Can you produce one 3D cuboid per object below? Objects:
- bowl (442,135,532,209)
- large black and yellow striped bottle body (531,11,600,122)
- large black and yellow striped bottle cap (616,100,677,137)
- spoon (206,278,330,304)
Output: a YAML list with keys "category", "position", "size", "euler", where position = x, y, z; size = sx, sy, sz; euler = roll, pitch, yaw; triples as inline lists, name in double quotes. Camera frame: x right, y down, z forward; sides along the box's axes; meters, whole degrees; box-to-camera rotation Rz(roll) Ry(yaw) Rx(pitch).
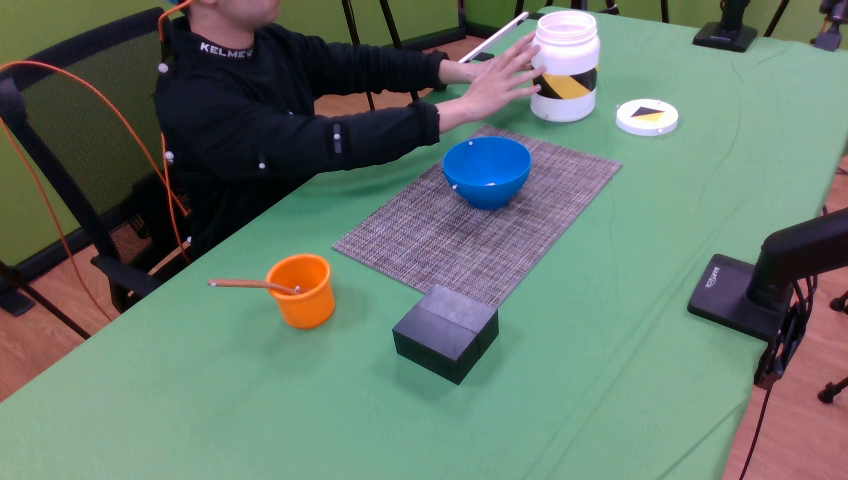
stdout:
- category: "bowl"
  position: [0.108, -0.106, 1.026]
  size: [0.151, 0.077, 0.150]
  euler: [-4, 41, 4]
- category: "large black and yellow striped bottle body"
  position: [0.279, -0.344, 1.202]
  size: [0.131, 0.185, 0.130]
  euler: [-4, 42, 4]
- category: "large black and yellow striped bottle cap"
  position: [0.438, -0.241, 1.190]
  size: [0.115, 0.019, 0.114]
  euler: [-4, 42, 4]
- category: "spoon"
  position: [-0.207, 0.066, 0.824]
  size: [0.041, 0.195, 0.021]
  euler: [34, 100, 40]
